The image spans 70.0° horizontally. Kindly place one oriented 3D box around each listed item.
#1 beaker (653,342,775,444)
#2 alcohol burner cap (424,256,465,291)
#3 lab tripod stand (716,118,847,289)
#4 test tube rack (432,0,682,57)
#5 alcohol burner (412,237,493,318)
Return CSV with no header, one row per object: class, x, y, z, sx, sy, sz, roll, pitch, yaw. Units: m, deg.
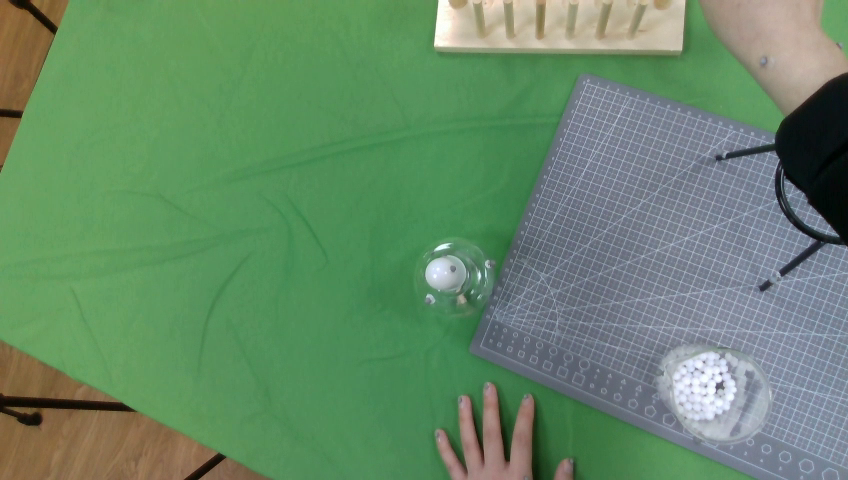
beaker,0.235,0.122,0.513,0.083,0.101,0.074,28,90,14
alcohol burner cap,0.016,0.029,0.524,0.034,0.048,0.034,0,88,12
lab tripod stand,0.312,-0.032,0.493,0.148,0.132,0.148,-1,86,10
test tube rack,0.123,-0.224,0.575,0.242,0.085,0.066,4,85,12
alcohol burner,0.024,0.033,0.559,0.078,0.119,0.077,-1,83,10
